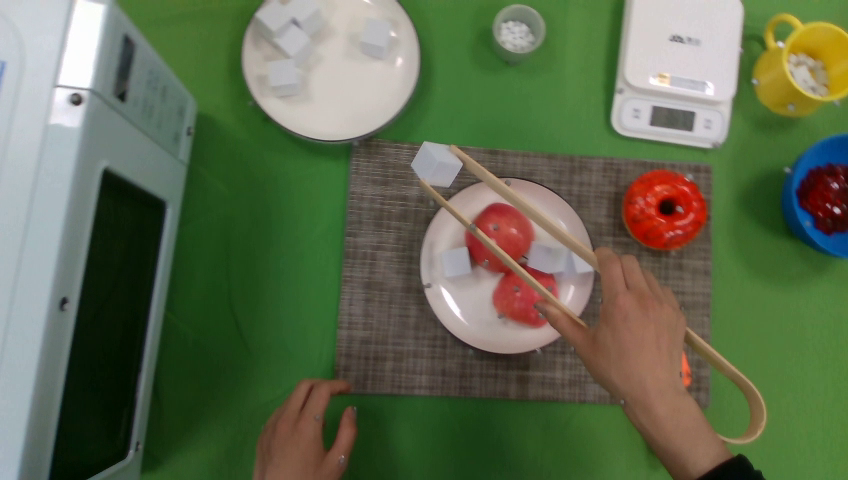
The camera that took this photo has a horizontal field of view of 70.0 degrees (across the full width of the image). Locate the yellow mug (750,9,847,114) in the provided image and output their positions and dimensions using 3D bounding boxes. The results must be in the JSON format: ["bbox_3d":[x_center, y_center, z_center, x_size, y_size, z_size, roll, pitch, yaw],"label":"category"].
[{"bbox_3d":[0.465,-0.229,0.756,0.100,0.064,0.130,-29,86,-6],"label":"yellow mug"}]

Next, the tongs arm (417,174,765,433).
[{"bbox_3d":[0.148,0.051,0.577,0.383,0.026,0.050,43,76,11],"label":"tongs arm"}]

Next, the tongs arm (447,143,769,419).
[{"bbox_3d":[0.167,0.030,0.583,0.386,0.028,0.028,40,72,10],"label":"tongs arm"}]

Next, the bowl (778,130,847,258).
[{"bbox_3d":[0.490,-0.050,0.734,0.151,0.077,0.151,0,85,-4],"label":"bowl"}]

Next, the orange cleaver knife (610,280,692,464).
[{"bbox_3d":[0.281,0.155,0.721,0.077,0.012,0.210,-14,84,-11],"label":"orange cleaver knife"}]

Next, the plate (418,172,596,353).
[{"bbox_3d":[0.096,0.027,0.711,0.209,0.038,0.208,1,84,-4],"label":"plate"}]

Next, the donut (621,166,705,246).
[{"bbox_3d":[0.286,-0.041,0.730,0.099,0.048,0.099,0,84,-2],"label":"donut"}]

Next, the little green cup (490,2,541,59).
[{"bbox_3d":[0.110,-0.255,0.745,0.061,0.038,0.061,1,83,-4],"label":"little green cup"}]

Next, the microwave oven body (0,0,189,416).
[{"bbox_3d":[-0.438,0.011,0.559,0.326,0.260,0.440,6,84,-4],"label":"microwave oven body"}]

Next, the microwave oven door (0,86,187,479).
[{"bbox_3d":[-0.297,0.069,0.559,0.039,0.244,0.355,6,83,-3],"label":"microwave oven door"}]

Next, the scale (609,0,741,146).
[{"bbox_3d":[0.315,-0.225,0.761,0.149,0.031,0.200,8,84,-3],"label":"scale"}]

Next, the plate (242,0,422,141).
[{"bbox_3d":[-0.108,-0.217,0.724,0.208,0.039,0.207,1,84,-4],"label":"plate"}]

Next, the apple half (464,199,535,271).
[{"bbox_3d":[0.089,-0.010,0.699,0.081,0.053,0.074,-42,85,-8],"label":"apple half"}]

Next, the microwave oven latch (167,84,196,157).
[{"bbox_3d":[-0.279,-0.136,0.684,0.030,0.029,0.079,9,84,-4],"label":"microwave oven latch"}]

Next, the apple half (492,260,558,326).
[{"bbox_3d":[0.121,0.059,0.703,0.081,0.033,0.081,0,85,0],"label":"apple half"}]
